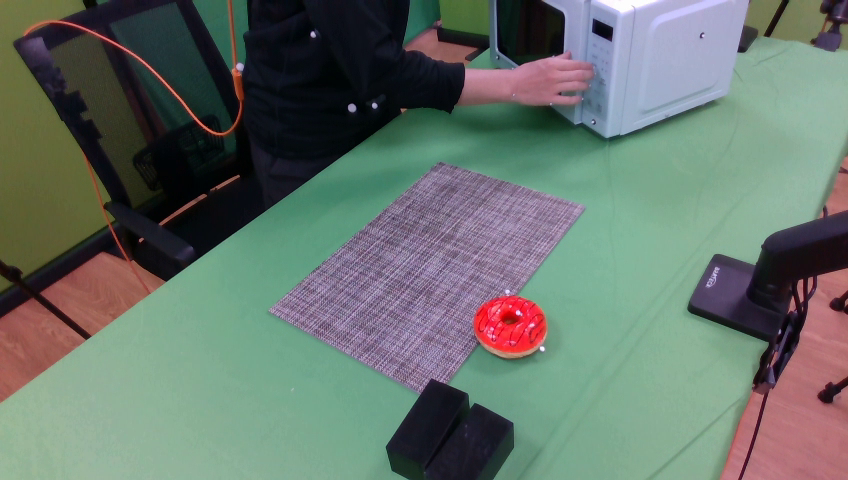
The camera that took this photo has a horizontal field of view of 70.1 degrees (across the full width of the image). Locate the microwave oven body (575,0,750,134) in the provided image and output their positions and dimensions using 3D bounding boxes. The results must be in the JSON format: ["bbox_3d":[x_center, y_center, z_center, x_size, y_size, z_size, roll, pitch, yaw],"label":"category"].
[{"bbox_3d":[0.382,-0.445,1.246,0.327,0.261,0.437,-22,42,-16],"label":"microwave oven body"}]

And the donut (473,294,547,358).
[{"bbox_3d":[0.114,0.114,0.803,0.099,0.048,0.098,0,40,1],"label":"donut"}]

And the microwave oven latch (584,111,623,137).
[{"bbox_3d":[0.337,-0.222,1.142,0.030,0.029,0.078,-21,42,-14],"label":"microwave oven latch"}]

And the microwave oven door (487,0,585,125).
[{"bbox_3d":[0.225,-0.417,1.229,0.039,0.245,0.352,-20,42,-14],"label":"microwave oven door"}]
